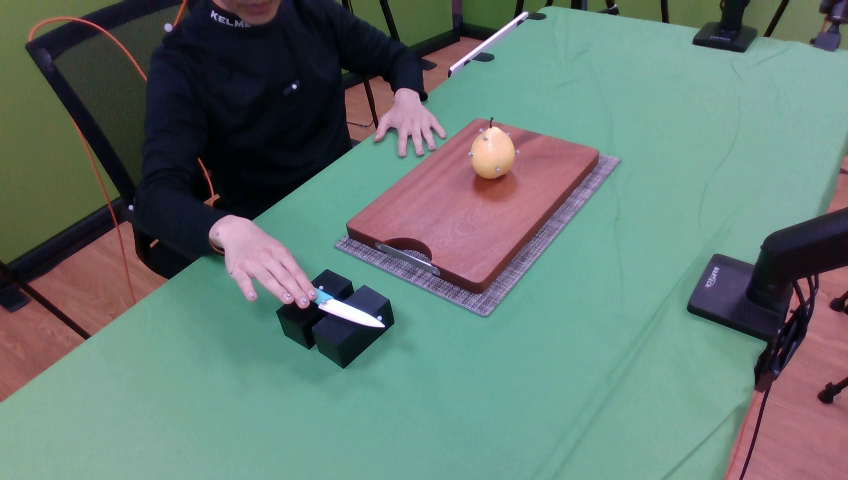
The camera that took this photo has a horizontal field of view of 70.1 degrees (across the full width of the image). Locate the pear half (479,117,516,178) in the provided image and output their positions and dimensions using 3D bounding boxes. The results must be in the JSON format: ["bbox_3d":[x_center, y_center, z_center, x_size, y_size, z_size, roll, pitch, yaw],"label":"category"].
[{"bbox_3d":[0.126,-0.166,1.032,0.056,0.110,0.075,-34,51,-29],"label":"pear half"}]

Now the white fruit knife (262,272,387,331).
[{"bbox_3d":[-0.136,0.083,0.822,0.206,0.016,0.027,20,53,26],"label":"white fruit knife"}]

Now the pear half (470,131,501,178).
[{"bbox_3d":[0.099,-0.141,1.022,0.031,0.088,0.070,-34,54,-30],"label":"pear half"}]
